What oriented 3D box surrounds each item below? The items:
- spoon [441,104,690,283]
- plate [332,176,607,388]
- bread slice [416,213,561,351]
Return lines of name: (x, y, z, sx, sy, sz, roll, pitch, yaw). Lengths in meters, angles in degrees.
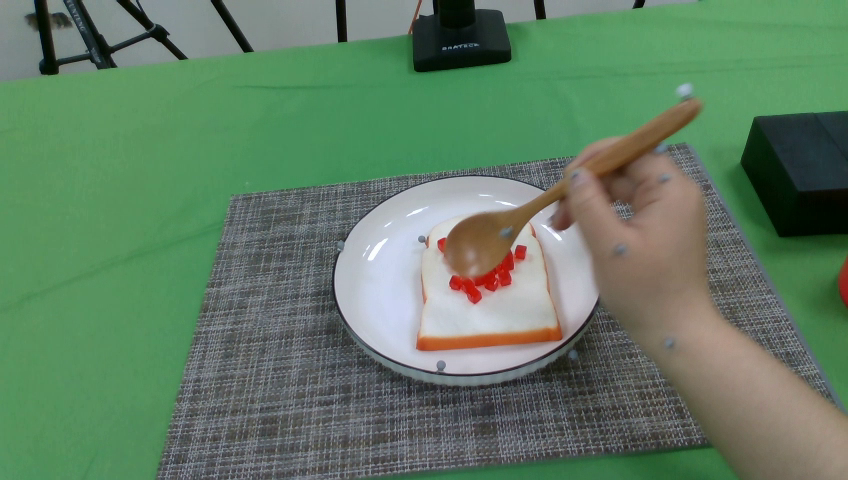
spoon: (0.075, -0.022, 0.371, 0.022, 0.194, 0.041, -16, 76, -43)
plate: (0.034, 0.029, 0.476, 0.209, 0.038, 0.207, -4, 46, 5)
bread slice: (0.046, 0.028, 0.477, 0.105, 0.019, 0.130, -4, 46, 3)
